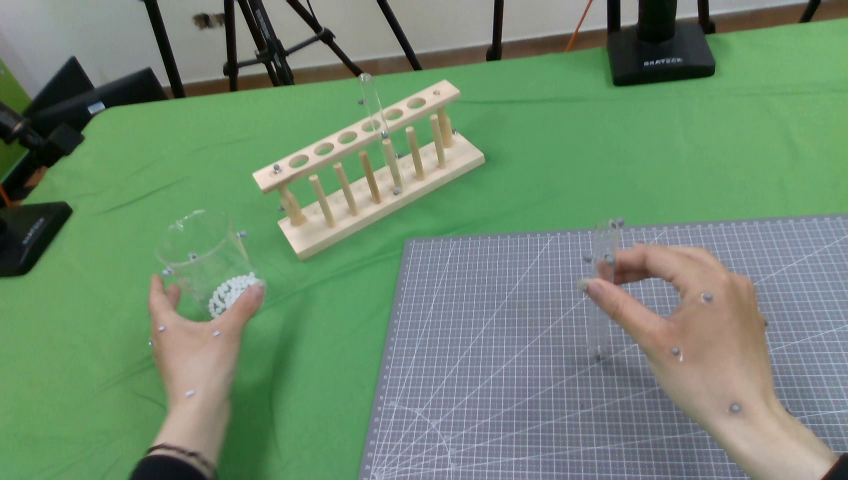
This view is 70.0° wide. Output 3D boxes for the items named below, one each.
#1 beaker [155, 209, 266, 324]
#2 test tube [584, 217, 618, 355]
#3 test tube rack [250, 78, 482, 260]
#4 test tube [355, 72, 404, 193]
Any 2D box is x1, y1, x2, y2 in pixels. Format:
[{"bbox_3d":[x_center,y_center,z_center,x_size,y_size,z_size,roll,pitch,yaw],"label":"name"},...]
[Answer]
[{"bbox_3d":[-0.208,0.028,0.602,0.074,0.101,0.083,-40,49,-22],"label":"beaker"},{"bbox_3d":[0.127,0.040,0.441,0.017,0.152,0.017,-6,48,7],"label":"test tube"},{"bbox_3d":[-0.058,-0.081,0.674,0.242,0.086,0.066,-29,47,-13],"label":"test tube rack"},{"bbox_3d":[-0.045,-0.109,0.634,0.017,0.152,0.017,-8,45,9],"label":"test tube"}]
